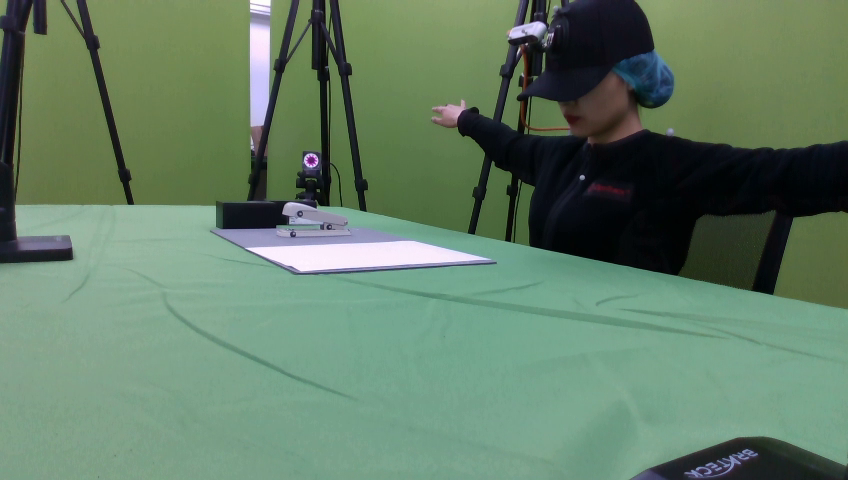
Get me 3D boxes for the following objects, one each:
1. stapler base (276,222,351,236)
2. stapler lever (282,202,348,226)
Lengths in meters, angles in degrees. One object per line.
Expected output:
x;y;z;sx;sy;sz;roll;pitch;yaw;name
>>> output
-0.196;-0.021;1.075;0.131;0.024;0.041;0;10;-33;stapler base
-0.193;-0.045;1.073;0.119;0.040;0.026;0;10;-33;stapler lever
